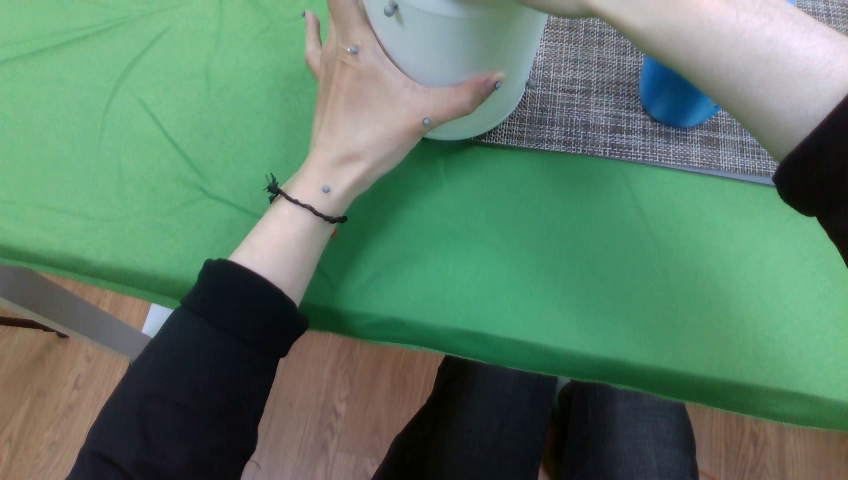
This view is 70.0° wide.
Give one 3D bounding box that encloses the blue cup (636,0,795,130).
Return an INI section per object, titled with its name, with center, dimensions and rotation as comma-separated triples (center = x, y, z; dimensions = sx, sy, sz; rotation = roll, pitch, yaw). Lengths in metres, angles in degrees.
[blue cup]
center = 0.197, -0.132, 0.438
dimensions = 0.092, 0.101, 0.092
rotation = -1, 67, 2

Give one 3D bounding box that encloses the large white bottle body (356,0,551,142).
[large white bottle body]
center = 0.018, -0.166, 0.403
dimensions = 0.131, 0.185, 0.129
rotation = 1, 69, -3
